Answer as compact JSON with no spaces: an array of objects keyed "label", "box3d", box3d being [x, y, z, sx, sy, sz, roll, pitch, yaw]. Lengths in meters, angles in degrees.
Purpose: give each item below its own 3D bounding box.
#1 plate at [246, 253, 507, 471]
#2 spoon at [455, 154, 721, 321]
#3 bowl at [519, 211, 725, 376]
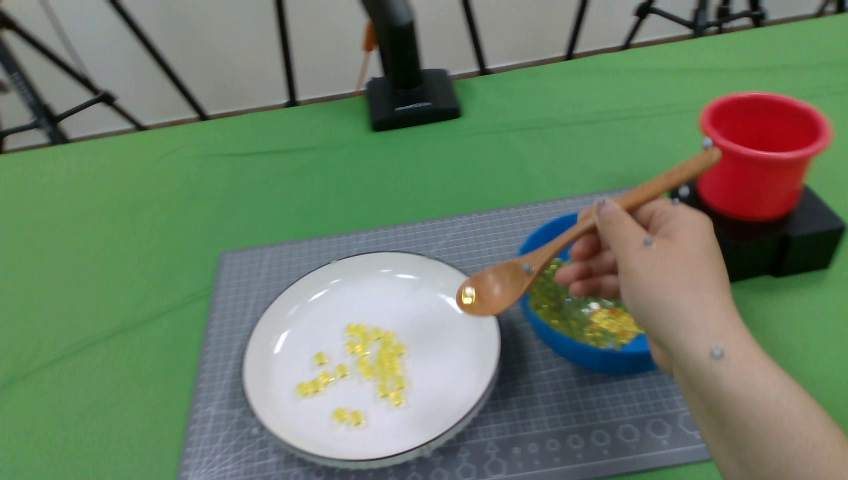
[{"label":"plate","box3d":[-0.036,0.094,0.495,0.207,0.039,0.205,-4,43,5]},{"label":"spoon","box3d":[0.102,0.000,0.398,0.194,0.022,0.041,-35,39,22]},{"label":"bowl","box3d":[0.148,0.054,0.478,0.151,0.077,0.150,-4,42,4]}]
